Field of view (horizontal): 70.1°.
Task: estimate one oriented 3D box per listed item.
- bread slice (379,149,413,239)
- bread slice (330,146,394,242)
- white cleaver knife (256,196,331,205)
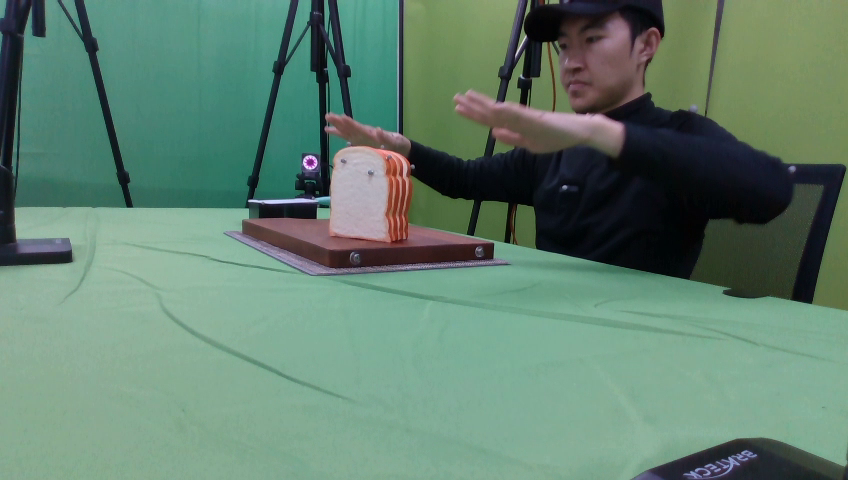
[{"bbox_3d":[-0.063,-0.070,0.903,0.104,0.131,0.019,8,3,27],"label":"bread slice"},{"bbox_3d":[-0.090,-0.066,0.859,0.106,0.134,0.018,3,10,28],"label":"bread slice"},{"bbox_3d":[-0.257,-0.088,1.307,0.065,0.021,0.288,8,7,30],"label":"white cleaver knife"}]
